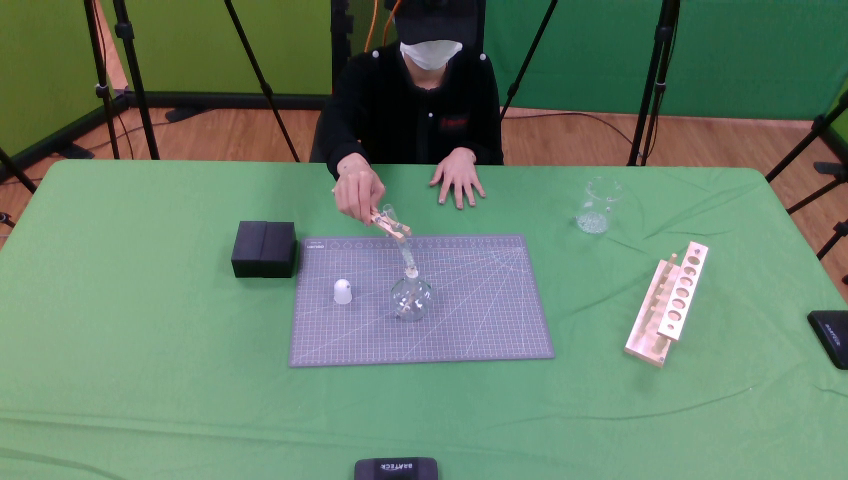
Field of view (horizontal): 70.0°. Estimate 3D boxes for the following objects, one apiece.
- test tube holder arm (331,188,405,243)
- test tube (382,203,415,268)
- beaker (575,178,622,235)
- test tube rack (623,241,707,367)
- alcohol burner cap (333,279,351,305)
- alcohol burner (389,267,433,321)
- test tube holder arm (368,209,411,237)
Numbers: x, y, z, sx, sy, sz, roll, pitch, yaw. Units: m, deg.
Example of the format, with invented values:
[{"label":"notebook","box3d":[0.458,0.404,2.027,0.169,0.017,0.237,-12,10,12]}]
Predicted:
[{"label":"test tube holder arm","box3d":[-0.092,-0.042,0.961,0.013,0.015,0.177,-42,52,-21]},{"label":"test tube","box3d":[-0.038,-0.003,0.940,0.017,0.151,0.017,-8,51,10]},{"label":"beaker","box3d":[0.356,-0.068,1.240,0.084,0.101,0.073,-18,50,-21]},{"label":"test tube rack","box3d":[0.435,0.104,1.089,0.066,0.085,0.242,24,49,19]},{"label":"alcohol burner cap","box3d":[-0.147,0.090,1.083,0.034,0.048,0.033,2,46,-2]},{"label":"alcohol burner","box3d":[-0.022,0.086,1.046,0.078,0.119,0.077,2,48,-2]},{"label":"test tube holder arm","box3d":[-0.056,-0.027,0.939,0.087,0.015,0.010,24,60,31]}]
